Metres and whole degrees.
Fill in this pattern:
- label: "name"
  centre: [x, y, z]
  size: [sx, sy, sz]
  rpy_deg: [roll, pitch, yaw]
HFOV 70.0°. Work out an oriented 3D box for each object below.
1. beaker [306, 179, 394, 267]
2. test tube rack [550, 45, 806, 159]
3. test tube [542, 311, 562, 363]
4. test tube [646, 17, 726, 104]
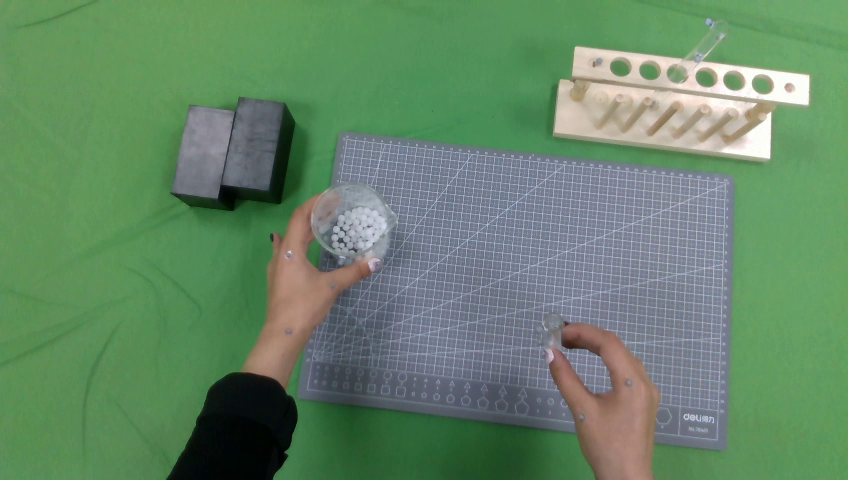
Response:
- label: "beaker"
  centre: [-0.071, -0.013, 0.622]
  size: [0.084, 0.100, 0.073]
  rpy_deg: [-3, 79, -1]
- label: "test tube rack"
  centre: [0.269, -0.148, 0.659]
  size: [0.242, 0.085, 0.066]
  rpy_deg: [7, 79, 1]
- label: "test tube"
  centre: [0.114, 0.088, 0.536]
  size: [0.017, 0.152, 0.017]
  rpy_deg: [-4, 68, 11]
- label: "test tube"
  centre: [0.260, -0.176, 0.614]
  size: [0.017, 0.151, 0.017]
  rpy_deg: [1, 76, -3]
